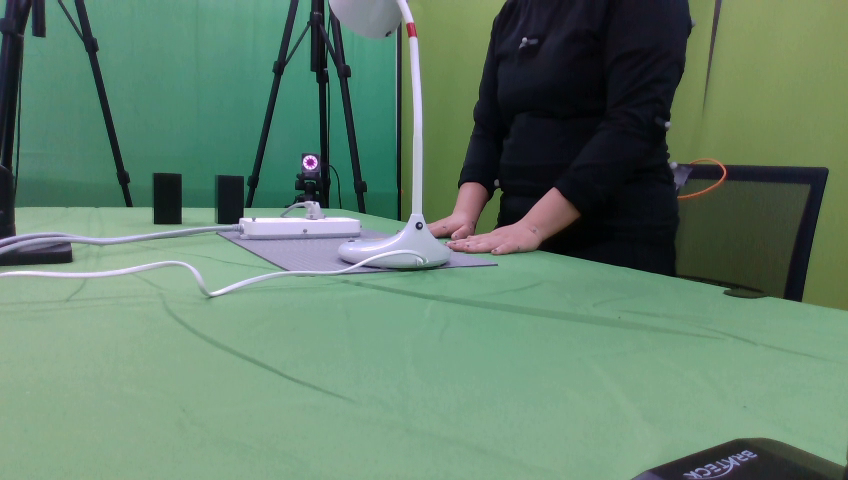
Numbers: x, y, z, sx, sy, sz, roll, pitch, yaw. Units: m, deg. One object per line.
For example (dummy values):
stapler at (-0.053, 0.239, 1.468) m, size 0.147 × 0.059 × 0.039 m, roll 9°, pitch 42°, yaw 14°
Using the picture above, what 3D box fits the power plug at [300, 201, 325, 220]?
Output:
power plug at (-0.207, -0.046, 1.120) m, size 0.035 × 0.052 × 0.072 m, roll 2°, pitch 4°, yaw -22°

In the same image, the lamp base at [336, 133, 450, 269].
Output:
lamp base at (-0.032, -0.057, 0.830) m, size 0.161 × 0.180 × 0.178 m, roll -2°, pitch 11°, yaw -34°

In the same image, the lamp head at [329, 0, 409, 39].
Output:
lamp head at (-0.062, -0.357, 0.842) m, size 0.113 × 0.112 × 0.122 m, roll -1°, pitch -14°, yaw -29°

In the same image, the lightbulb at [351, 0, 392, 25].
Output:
lightbulb at (-0.070, -0.355, 0.866) m, size 0.060 × 0.059 × 0.107 m, roll 0°, pitch -21°, yaw -20°

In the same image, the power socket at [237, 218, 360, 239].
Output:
power socket at (-0.220, -0.023, 1.080) m, size 0.228 × 0.032 × 0.072 m, roll -2°, pitch 8°, yaw -33°
